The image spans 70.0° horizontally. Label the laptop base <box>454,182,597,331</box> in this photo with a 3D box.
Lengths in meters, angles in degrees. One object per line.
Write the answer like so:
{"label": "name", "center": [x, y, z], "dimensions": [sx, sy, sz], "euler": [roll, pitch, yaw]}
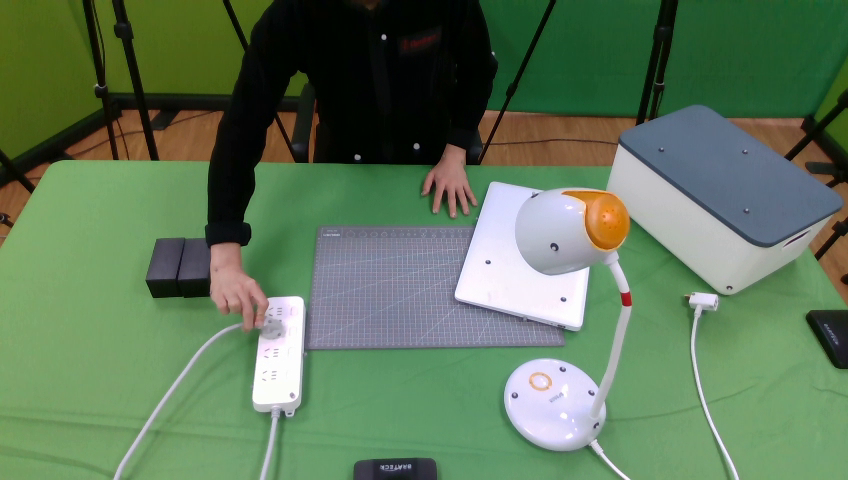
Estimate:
{"label": "laptop base", "center": [0.211, 0.019, 1.202], "dimensions": [0.235, 0.023, 0.352], "euler": [12, 46, 10]}

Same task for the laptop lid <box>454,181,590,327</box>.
{"label": "laptop lid", "center": [0.210, 0.010, 1.193], "dimensions": [0.241, 0.013, 0.355], "euler": [13, 46, 11]}

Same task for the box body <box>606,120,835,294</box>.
{"label": "box body", "center": [0.582, -0.089, 1.230], "dimensions": [0.254, 0.161, 0.361], "euler": [-22, 52, -23]}

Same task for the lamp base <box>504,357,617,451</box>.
{"label": "lamp base", "center": [0.220, 0.211, 0.903], "dimensions": [0.160, 0.181, 0.178], "euler": [-32, 59, -30]}

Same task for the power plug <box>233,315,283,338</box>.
{"label": "power plug", "center": [-0.270, 0.143, 1.001], "dimensions": [0.072, 0.053, 0.035], "euler": [5, 47, 5]}

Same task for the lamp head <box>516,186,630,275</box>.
{"label": "lamp head", "center": [0.188, -0.013, 0.728], "dimensions": [0.112, 0.112, 0.122], "euler": [-25, 9, -25]}

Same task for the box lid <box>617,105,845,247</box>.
{"label": "box lid", "center": [0.586, -0.138, 1.176], "dimensions": [0.263, 0.015, 0.369], "euler": [-22, 51, -23]}

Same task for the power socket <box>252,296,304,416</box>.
{"label": "power socket", "center": [-0.238, 0.181, 0.997], "dimensions": [0.072, 0.033, 0.225], "euler": [-3, 47, -5]}

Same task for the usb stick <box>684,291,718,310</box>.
{"label": "usb stick", "center": [0.509, 0.111, 1.121], "dimensions": [0.059, 0.021, 0.027], "euler": [6, 54, 45]}

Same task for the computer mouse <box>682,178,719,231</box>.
{"label": "computer mouse", "center": [0.596, -0.078, 1.290], "dimensions": [0.117, 0.041, 0.062], "euler": [56, 44, -7]}
